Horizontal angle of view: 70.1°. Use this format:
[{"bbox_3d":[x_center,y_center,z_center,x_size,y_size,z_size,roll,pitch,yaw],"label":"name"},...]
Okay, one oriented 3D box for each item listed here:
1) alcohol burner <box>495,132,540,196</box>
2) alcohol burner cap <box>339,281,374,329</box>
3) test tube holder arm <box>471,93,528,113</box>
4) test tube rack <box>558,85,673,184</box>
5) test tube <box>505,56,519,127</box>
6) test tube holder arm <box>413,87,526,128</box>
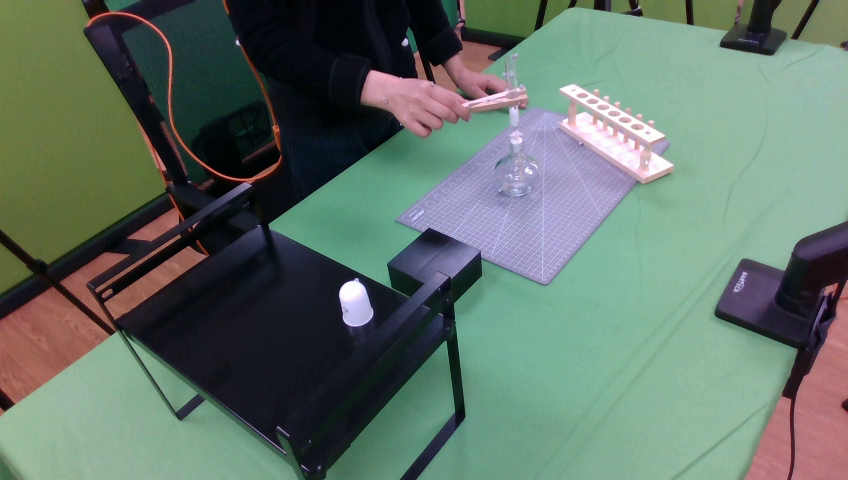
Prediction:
[{"bbox_3d":[0.160,-0.135,1.035,0.078,0.119,0.077,-5,42,5],"label":"alcohol burner"},{"bbox_3d":[-0.071,0.063,0.617,0.034,0.048,0.033,-4,39,4],"label":"alcohol burner cap"},{"bbox_3d":[0.115,-0.210,0.930,0.088,0.015,0.010,-8,61,7],"label":"test tube holder arm"},{"bbox_3d":[0.347,-0.203,1.109,0.067,0.085,0.240,-23,42,-17],"label":"test tube rack"},{"bbox_3d":[0.135,-0.222,0.923,0.017,0.151,0.017,-5,62,9],"label":"test tube"},{"bbox_3d":[0.071,-0.205,0.936,0.178,0.015,0.013,-15,60,3],"label":"test tube holder arm"}]
